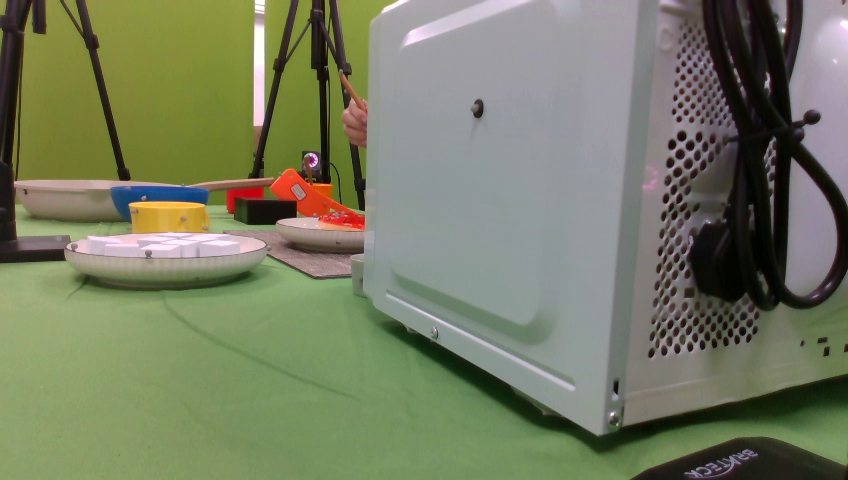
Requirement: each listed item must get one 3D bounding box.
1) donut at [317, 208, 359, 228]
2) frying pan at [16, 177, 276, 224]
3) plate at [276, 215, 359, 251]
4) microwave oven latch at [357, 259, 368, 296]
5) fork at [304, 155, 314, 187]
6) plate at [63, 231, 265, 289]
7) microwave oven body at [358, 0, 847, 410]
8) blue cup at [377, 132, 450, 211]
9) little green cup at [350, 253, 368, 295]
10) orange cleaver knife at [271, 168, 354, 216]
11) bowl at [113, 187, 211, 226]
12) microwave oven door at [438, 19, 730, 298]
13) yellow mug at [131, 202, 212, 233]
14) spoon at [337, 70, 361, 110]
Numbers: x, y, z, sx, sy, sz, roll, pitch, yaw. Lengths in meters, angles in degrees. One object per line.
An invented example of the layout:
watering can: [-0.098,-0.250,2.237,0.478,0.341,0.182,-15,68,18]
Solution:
donut: [-0.118,-0.024,0.954,0.099,0.048,0.099,6,7,0]
frying pan: [-0.554,-0.097,1.266,0.490,0.102,0.305,-10,13,-24]
plate: [-0.126,-0.012,0.950,0.209,0.038,0.209,2,7,0]
microwave oven latch: [-0.019,0.031,0.528,0.079,0.029,0.030,-1,7,-25]
fork: [-0.268,-0.134,1.446,0.028,0.018,0.207,2,-36,-1]
plate: [-0.288,0.021,0.687,0.208,0.039,0.207,2,8,0]
microwave oven body: [0.210,-0.051,0.471,0.444,0.260,0.324,-1,7,-28]
blue cup: [-0.011,-0.103,0.967,0.092,0.100,0.092,-36,3,3]
little green cup: [-0.048,0.035,0.632,0.061,0.038,0.061,3,6,0]
orange cleaver knife: [-0.237,-0.084,1.332,0.212,0.077,0.012,31,-9,-31]
bowl: [-0.436,-0.046,1.013,0.151,0.077,0.151,2,7,0]
microwave oven door: [0.181,-0.076,0.618,0.358,0.243,0.039,-2,8,-28]
yellow mug: [-0.356,-0.020,0.878,0.099,0.064,0.131,5,7,21]
spoon: [-0.088,-0.185,0.967,0.021,0.193,0.041,-26,3,-2]
